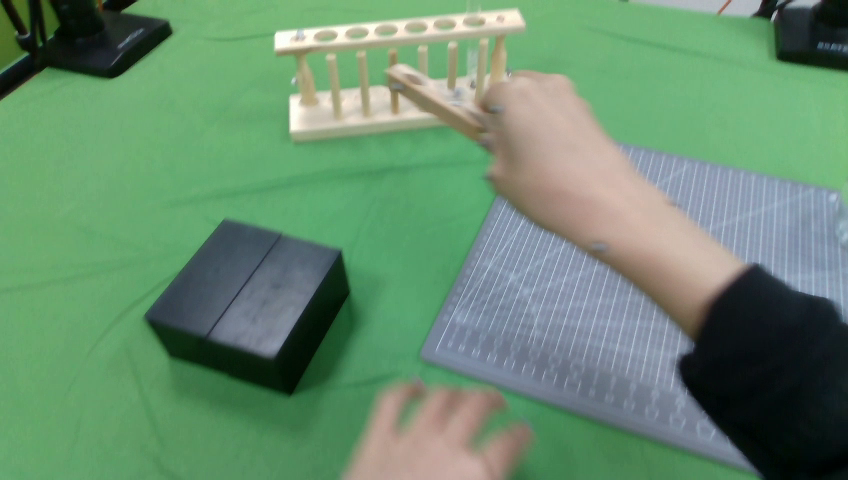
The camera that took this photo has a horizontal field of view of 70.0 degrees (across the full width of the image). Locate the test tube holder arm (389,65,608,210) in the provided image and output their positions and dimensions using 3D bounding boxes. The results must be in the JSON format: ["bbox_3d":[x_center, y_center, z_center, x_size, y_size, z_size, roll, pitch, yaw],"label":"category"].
[{"bbox_3d":[0.039,-0.069,0.383,0.177,0.015,0.013,36,59,26],"label":"test tube holder arm"}]

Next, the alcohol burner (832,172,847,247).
[{"bbox_3d":[0.368,-0.043,0.462,0.078,0.120,0.077,0,46,0],"label":"alcohol burner"}]

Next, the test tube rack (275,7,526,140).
[{"bbox_3d":[-0.020,-0.168,0.612,0.243,0.086,0.066,-8,48,-5],"label":"test tube rack"}]

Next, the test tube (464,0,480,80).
[{"bbox_3d":[0.047,-0.226,0.595,0.017,0.151,0.017,-2,45,2],"label":"test tube"}]

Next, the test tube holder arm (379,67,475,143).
[{"bbox_3d":[0.003,-0.090,0.400,0.087,0.015,0.010,36,59,27],"label":"test tube holder arm"}]
